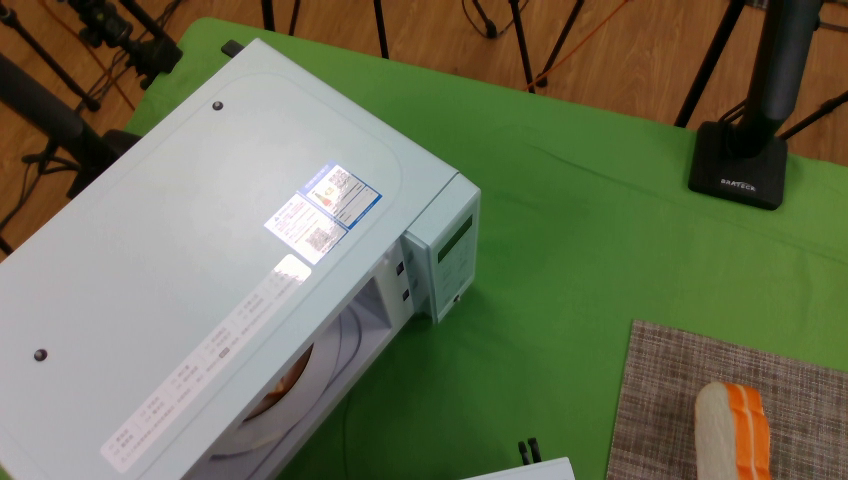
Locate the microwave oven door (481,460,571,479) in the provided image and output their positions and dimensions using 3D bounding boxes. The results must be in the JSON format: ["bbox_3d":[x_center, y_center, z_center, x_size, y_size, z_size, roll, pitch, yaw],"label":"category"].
[{"bbox_3d":[-0.055,0.258,0.553,0.356,0.245,0.039,-12,66,-3],"label":"microwave oven door"}]

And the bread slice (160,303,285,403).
[{"bbox_3d":[-0.228,0.135,0.690,0.134,0.018,0.106,-10,62,-12],"label":"bread slice"}]

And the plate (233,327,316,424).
[{"bbox_3d":[-0.227,0.111,0.694,0.208,0.039,0.206,1,63,-2],"label":"plate"}]

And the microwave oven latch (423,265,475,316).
[{"bbox_3d":[0.031,0.055,0.750,0.030,0.030,0.079,38,74,17],"label":"microwave oven latch"}]

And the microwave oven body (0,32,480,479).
[{"bbox_3d":[-0.200,0.061,0.652,0.324,0.262,0.441,36,73,16],"label":"microwave oven body"}]
